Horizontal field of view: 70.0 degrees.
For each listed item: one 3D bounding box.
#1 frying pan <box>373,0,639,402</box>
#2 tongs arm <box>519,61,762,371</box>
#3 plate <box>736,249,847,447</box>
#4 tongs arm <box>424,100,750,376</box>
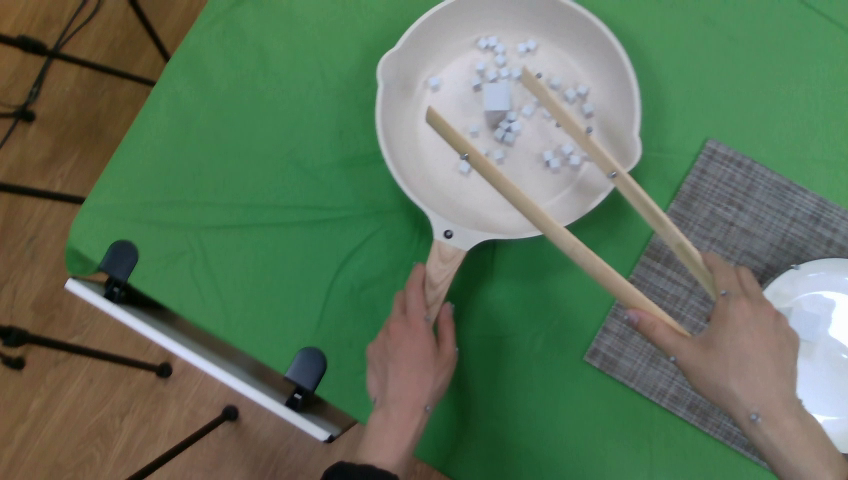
[{"bbox_3d":[0.050,-0.054,0.676,0.306,0.103,0.486,23,77,7],"label":"frying pan"},{"bbox_3d":[0.188,-0.044,0.593,0.051,0.027,0.381,-24,62,-21],"label":"tongs arm"},{"bbox_3d":[0.442,0.114,0.656,0.207,0.039,0.207,-1,83,5],"label":"plate"},{"bbox_3d":[0.129,-0.014,0.568,0.028,0.028,0.384,-32,65,-29],"label":"tongs arm"}]
